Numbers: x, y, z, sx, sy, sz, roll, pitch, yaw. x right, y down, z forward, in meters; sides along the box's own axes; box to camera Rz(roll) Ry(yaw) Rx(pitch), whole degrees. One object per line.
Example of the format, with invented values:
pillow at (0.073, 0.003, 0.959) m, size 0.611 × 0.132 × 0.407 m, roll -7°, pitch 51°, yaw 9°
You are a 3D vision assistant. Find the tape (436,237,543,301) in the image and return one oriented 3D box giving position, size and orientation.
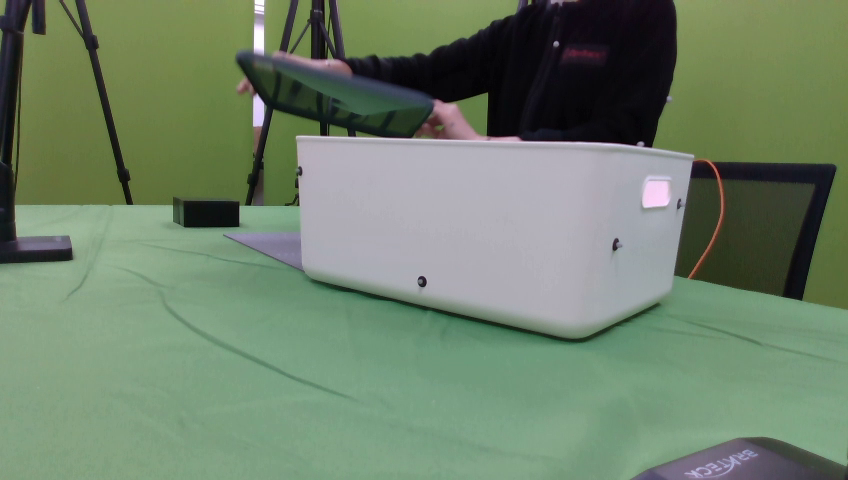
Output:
tape at (0.072, 0.029, 0.658) m, size 0.117 × 0.052 × 0.117 m, roll 3°, pitch 7°, yaw 0°

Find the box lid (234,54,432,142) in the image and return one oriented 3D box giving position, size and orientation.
box lid at (-0.134, -0.204, 0.943) m, size 0.264 × 0.015 × 0.371 m, roll 13°, pitch 0°, yaw -8°

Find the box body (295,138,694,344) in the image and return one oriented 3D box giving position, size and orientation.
box body at (0.065, -0.020, 0.653) m, size 0.362 × 0.160 × 0.255 m, roll 9°, pitch 9°, yaw 36°
